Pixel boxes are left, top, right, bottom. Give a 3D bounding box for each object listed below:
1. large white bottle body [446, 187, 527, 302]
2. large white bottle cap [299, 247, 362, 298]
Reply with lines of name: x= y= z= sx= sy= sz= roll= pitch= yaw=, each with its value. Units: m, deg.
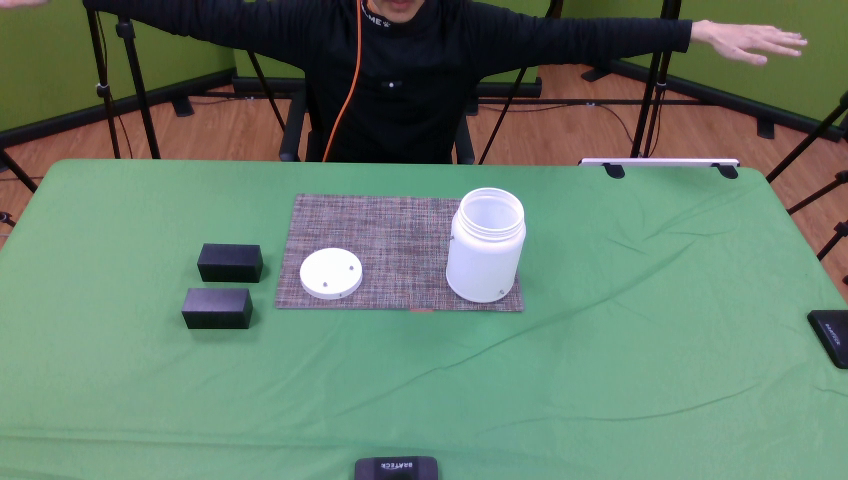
large white bottle body: x=0.110 y=0.008 z=1.079 sx=0.131 sy=0.185 sz=0.130 roll=2 pitch=47 yaw=-2
large white bottle cap: x=-0.174 y=0.059 z=1.124 sx=0.115 sy=0.018 sz=0.114 roll=2 pitch=46 yaw=-2
